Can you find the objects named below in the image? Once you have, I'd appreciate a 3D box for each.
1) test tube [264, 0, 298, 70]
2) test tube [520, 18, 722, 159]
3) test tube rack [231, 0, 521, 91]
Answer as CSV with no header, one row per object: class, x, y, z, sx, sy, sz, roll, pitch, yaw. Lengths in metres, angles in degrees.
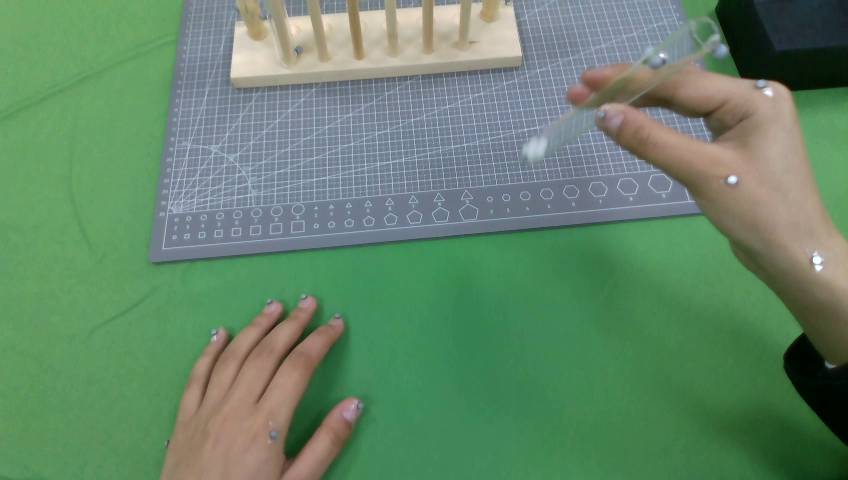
test tube,-0.111,-0.183,0.443,0.017,0.151,0.017,1,61,-1
test tube,0.093,-0.072,0.321,0.017,0.150,0.017,5,77,-21
test tube rack,-0.043,-0.184,0.492,0.242,0.086,0.066,-5,62,-1
